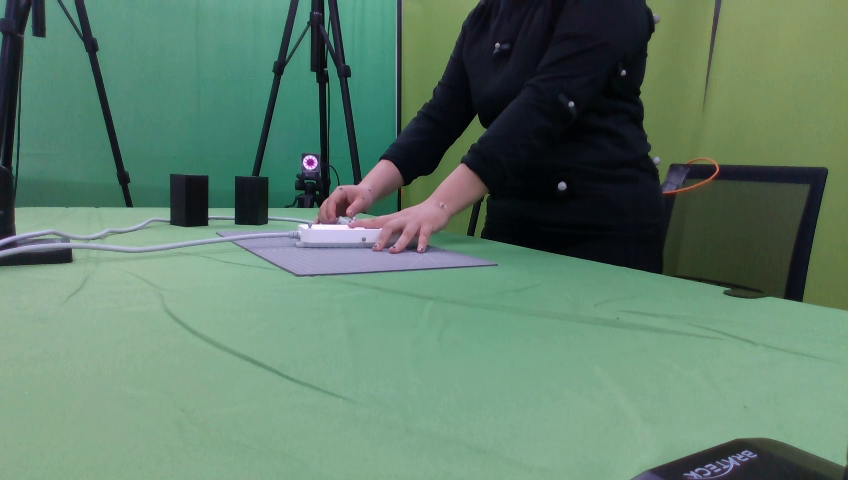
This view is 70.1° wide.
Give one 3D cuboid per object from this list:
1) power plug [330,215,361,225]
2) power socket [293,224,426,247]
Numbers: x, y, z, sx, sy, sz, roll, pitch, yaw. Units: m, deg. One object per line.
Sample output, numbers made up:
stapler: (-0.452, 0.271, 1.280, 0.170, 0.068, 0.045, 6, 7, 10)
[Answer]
power plug: (-0.142, -0.033, 1.130, 0.053, 0.035, 0.072, 26, 13, -25)
power socket: (-0.103, -0.008, 1.003, 0.228, 0.032, 0.072, 0, 7, -22)
